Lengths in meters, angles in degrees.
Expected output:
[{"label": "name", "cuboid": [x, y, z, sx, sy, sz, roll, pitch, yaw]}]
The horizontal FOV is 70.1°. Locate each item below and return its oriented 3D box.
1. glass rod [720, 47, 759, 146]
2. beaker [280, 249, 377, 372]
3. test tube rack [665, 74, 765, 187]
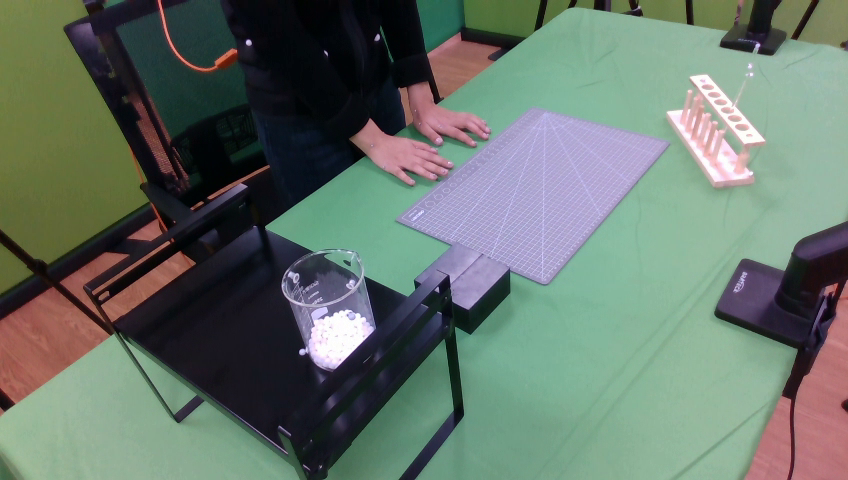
[{"label": "glass rod", "cuboid": [0.527, -0.234, 1.018, 0.008, 0.200, 0.008, -2, 49, 3]}, {"label": "beaker", "cuboid": [-0.084, 0.068, 0.572, 0.073, 0.101, 0.084, 20, 47, 28]}, {"label": "test tube rack", "cuboid": [0.512, -0.201, 1.082, 0.067, 0.085, 0.241, -6, 41, 2]}]
